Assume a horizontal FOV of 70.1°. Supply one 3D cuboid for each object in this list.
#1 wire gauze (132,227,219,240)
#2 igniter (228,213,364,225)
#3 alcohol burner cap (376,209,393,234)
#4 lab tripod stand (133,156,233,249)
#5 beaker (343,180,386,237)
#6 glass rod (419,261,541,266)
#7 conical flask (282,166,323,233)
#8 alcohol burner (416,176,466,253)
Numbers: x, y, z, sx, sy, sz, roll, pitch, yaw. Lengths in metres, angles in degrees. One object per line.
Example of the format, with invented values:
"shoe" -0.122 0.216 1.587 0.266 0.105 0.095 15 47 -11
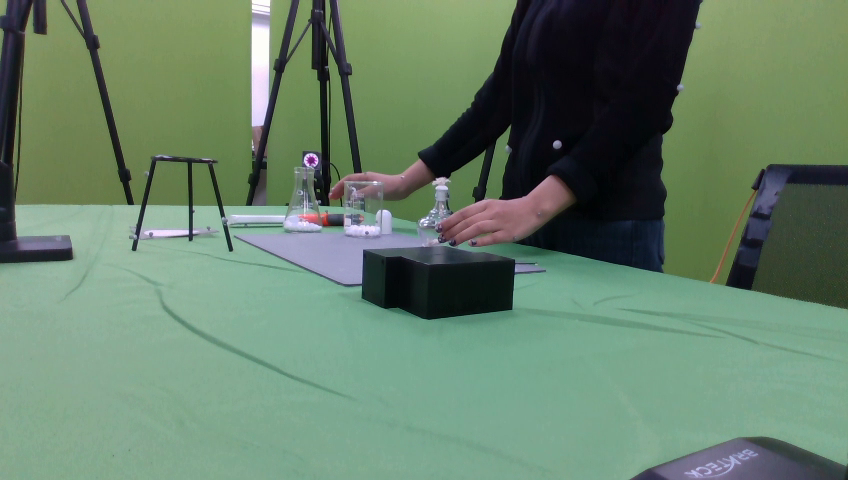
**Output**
"wire gauze" -0.421 -0.014 1.024 0.122 0.011 0.124 -2 7 -34
"igniter" -0.252 -0.043 1.227 0.278 0.025 0.057 -2 -3 -32
"alcohol burner cap" -0.075 -0.036 1.150 0.034 0.048 0.034 2 7 0
"lab tripod stand" -0.342 -0.054 0.878 0.148 0.131 0.148 4 6 0
"beaker" -0.111 -0.058 1.090 0.083 0.100 0.074 7 8 34
"glass rod" 0.080 0.031 0.807 0.201 0.008 0.008 1 6 -32
"conical flask" -0.225 -0.076 1.129 0.075 0.122 0.075 2 8 0
"alcohol burner" 0.027 -0.040 0.934 0.078 0.119 0.078 3 10 0
